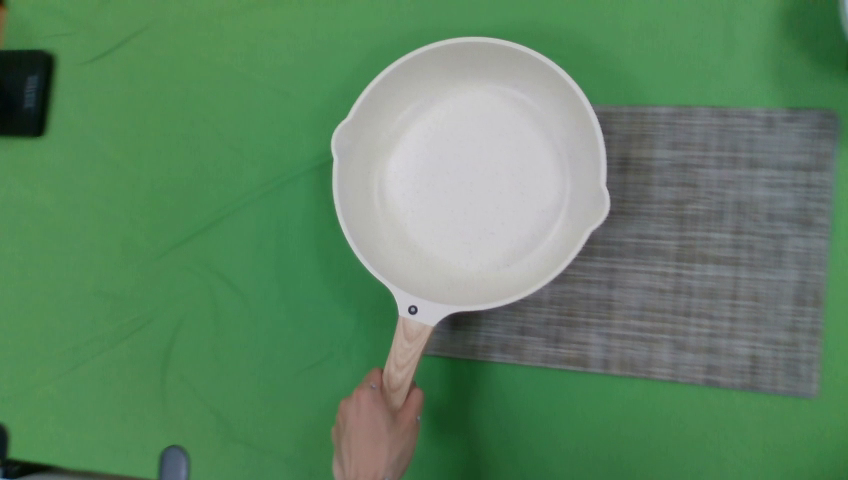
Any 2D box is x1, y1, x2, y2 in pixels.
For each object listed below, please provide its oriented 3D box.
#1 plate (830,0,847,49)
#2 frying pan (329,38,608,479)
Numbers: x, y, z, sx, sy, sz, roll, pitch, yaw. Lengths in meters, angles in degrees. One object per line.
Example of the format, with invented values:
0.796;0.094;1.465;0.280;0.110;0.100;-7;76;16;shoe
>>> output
0.491;-0.233;0.568;0.207;0.039;0.207;-1;86;10;plate
0.010;0.028;0.645;0.305;0.103;0.486;18;80;15;frying pan
